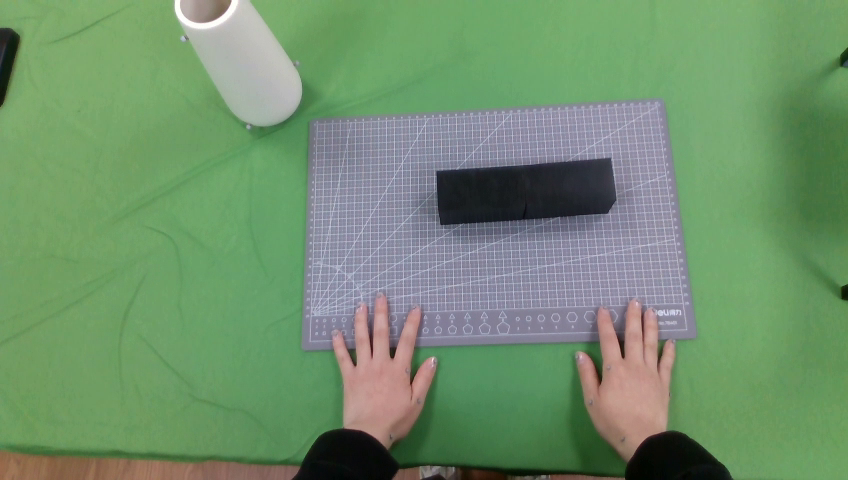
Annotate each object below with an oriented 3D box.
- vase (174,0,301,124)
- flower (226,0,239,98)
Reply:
[{"bbox_3d":[-0.212,-0.219,0.708,0.098,0.201,0.097,-1,72,4],"label":"vase"},{"bbox_3d":[-0.201,-0.246,0.629,0.038,0.362,0.044,16,68,-9],"label":"flower"}]
